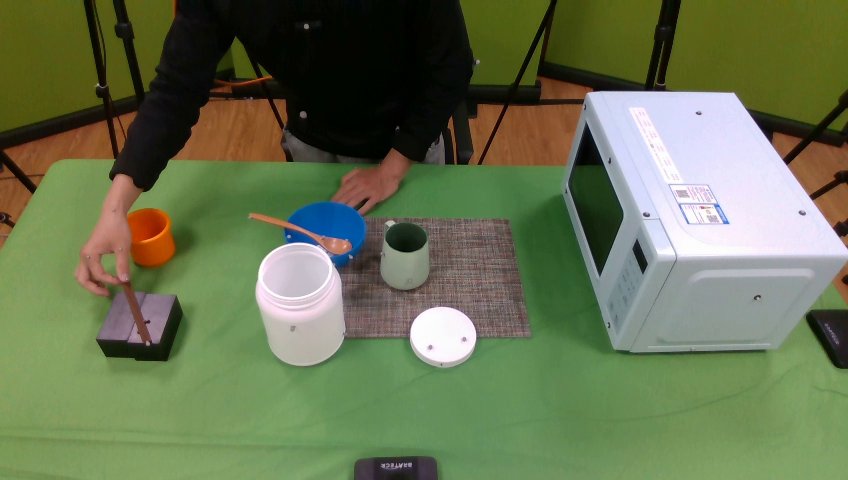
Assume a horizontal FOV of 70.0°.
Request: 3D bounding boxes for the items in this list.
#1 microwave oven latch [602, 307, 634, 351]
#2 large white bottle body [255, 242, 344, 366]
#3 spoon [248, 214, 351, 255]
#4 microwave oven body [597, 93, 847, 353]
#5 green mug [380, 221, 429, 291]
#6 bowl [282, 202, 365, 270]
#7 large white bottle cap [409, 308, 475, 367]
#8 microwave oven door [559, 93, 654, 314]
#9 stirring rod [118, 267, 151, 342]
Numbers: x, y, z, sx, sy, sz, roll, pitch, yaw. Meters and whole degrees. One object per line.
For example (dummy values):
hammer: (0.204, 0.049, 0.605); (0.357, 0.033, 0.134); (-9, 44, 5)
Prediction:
microwave oven latch: (0.332, 0.153, 1.043); (0.030, 0.029, 0.078); (0, 45, -4)
large white bottle body: (-0.196, 0.102, 0.967); (0.131, 0.185, 0.130); (2, 49, -2)
spoon: (-0.228, -0.014, 1.113); (0.194, 0.022, 0.041); (23, 40, -15)
microwave oven body: (0.475, -0.041, 1.109); (0.326, 0.261, 0.438); (-1, 45, -4)
green mug: (-0.043, 0.020, 1.116); (0.092, 0.105, 0.124); (-20, 50, -21)
bowl: (-0.185, 0.006, 1.137); (0.151, 0.077, 0.150); (3, 46, -3)
large white bottle cap: (0.031, 0.166, 1.041); (0.115, 0.018, 0.114); (2, 47, -2)
microwave oven door: (0.327, -0.074, 1.123); (0.039, 0.245, 0.353); (-1, 46, -5)
stirring rod: (-0.478, 0.104, 0.999); (0.014, 0.006, 0.175); (5, 35, -44)
